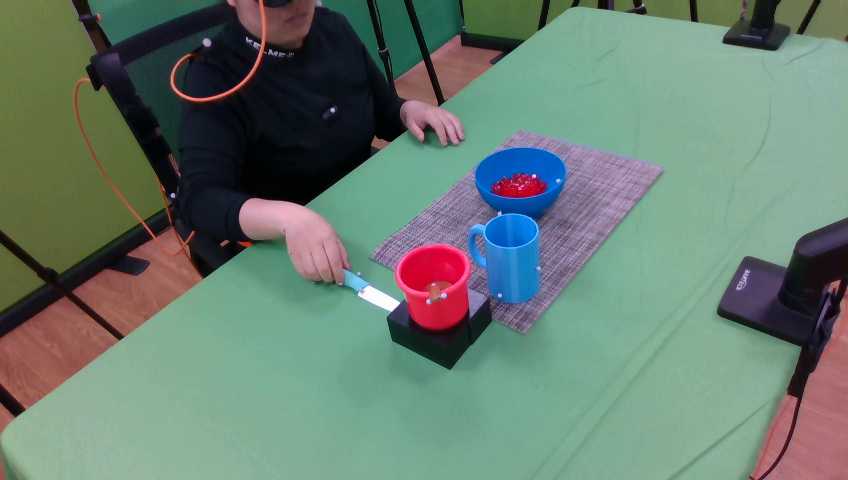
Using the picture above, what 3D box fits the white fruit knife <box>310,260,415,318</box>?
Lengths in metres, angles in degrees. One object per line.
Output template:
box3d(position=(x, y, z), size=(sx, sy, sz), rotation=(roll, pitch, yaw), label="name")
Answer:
box3d(position=(-0.094, 0.074, 0.920), size=(0.206, 0.016, 0.027), rotation=(24, 77, 31), label="white fruit knife")

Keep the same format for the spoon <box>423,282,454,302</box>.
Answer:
box3d(position=(0.015, 0.062, 0.733), size=(0.041, 0.021, 0.194), rotation=(-5, -4, 3), label="spoon")

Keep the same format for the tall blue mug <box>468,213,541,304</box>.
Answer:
box3d(position=(0.111, 0.026, 0.856), size=(0.107, 0.108, 0.077), rotation=(2, 42, 13), label="tall blue mug")

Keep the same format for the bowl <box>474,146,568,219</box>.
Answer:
box3d(position=(0.161, -0.083, 1.001), size=(0.151, 0.077, 0.150), rotation=(-5, 40, 5), label="bowl")
